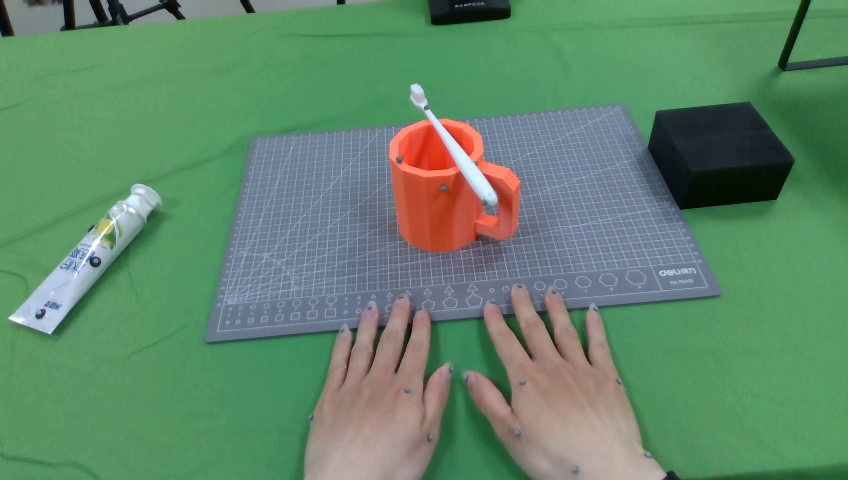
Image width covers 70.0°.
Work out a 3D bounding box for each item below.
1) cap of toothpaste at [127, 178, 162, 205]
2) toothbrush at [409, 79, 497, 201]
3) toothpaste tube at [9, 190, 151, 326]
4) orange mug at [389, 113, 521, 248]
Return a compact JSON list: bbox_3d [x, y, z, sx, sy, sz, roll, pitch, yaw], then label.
[{"bbox_3d":[-0.294,-0.049,0.635,0.037,0.038,0.011,6,46,11],"label":"cap of toothpaste"},{"bbox_3d":[0.022,-0.093,0.534,0.014,0.017,0.179,-16,47,-14],"label":"toothbrush"},{"bbox_3d":[-0.325,0.010,0.590,0.055,0.035,0.164,9,51,23],"label":"toothpaste tube"},{"bbox_3d":[0.029,-0.051,0.566,0.125,0.102,0.083,16,50,25],"label":"orange mug"}]
